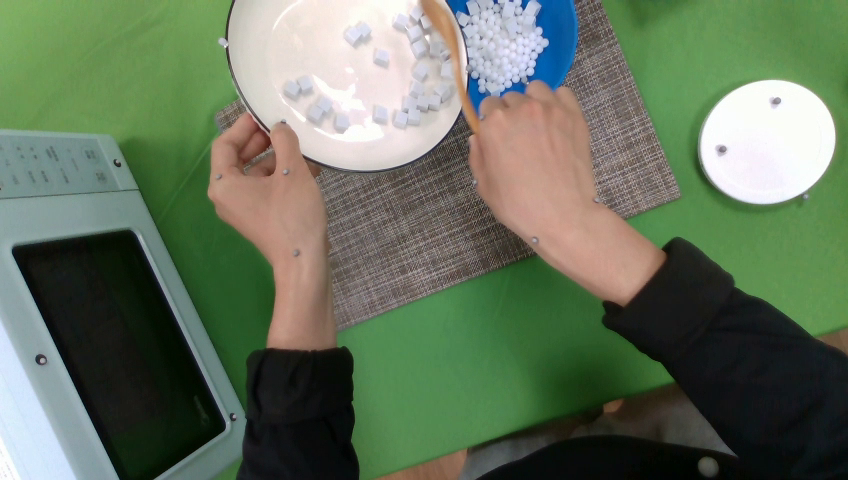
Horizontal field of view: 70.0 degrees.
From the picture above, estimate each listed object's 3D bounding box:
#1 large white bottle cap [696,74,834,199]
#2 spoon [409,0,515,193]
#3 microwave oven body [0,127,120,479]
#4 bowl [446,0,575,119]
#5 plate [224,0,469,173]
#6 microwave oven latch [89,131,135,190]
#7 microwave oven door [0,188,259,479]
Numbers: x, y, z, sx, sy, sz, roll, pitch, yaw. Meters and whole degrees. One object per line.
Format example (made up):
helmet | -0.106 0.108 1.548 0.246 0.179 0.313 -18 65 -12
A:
large white bottle cap | 0.317 -0.095 0.567 0.114 0.018 0.115 2 99 16
spoon | 0.030 -0.121 0.499 0.021 0.042 0.192 -22 76 3
microwave oven body | -0.473 0.137 0.713 0.326 0.260 0.441 -25 91 18
bowl | 0.073 -0.192 0.590 0.151 0.077 0.151 3 100 17
plate | -0.064 -0.156 0.527 0.210 0.038 0.208 3 81 -19
microwave oven latch | -0.394 -0.096 0.754 0.030 0.029 0.079 -25 91 18
microwave oven door | -0.332 0.116 0.662 0.039 0.244 0.355 -26 90 19
